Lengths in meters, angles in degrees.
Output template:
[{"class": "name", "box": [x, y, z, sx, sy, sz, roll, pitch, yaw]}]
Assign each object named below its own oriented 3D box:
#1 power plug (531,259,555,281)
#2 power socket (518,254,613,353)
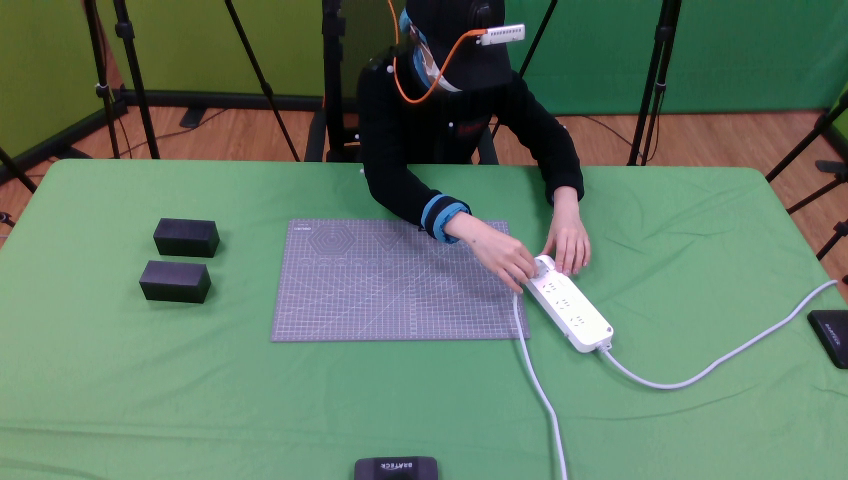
[{"class": "power plug", "box": [0.231, 0.059, 1.117, 0.073, 0.035, 0.052, 24, 39, -12]}, {"class": "power socket", "box": [0.253, 0.110, 1.100, 0.072, 0.033, 0.225, -18, 50, -20]}]
